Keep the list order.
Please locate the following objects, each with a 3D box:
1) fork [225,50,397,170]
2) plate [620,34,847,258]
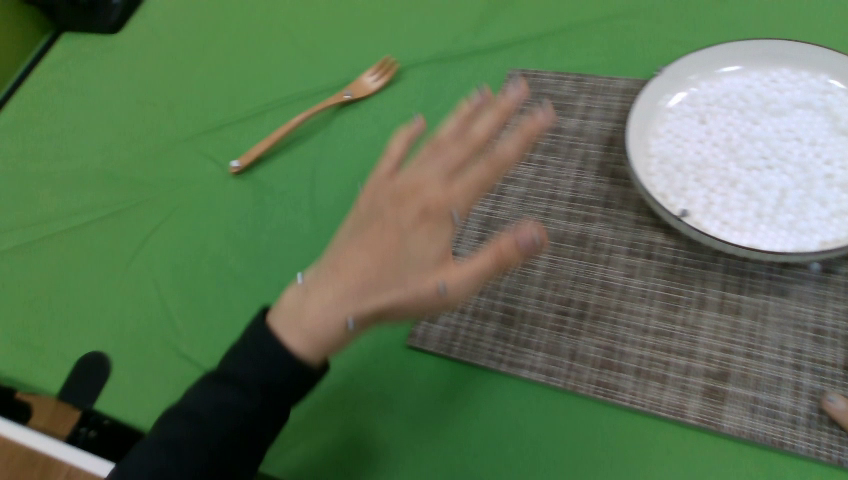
[{"bbox_3d":[-0.116,-0.132,0.620,0.207,0.019,0.028,-34,69,-8],"label":"fork"},{"bbox_3d":[0.261,-0.074,0.473,0.209,0.038,0.207,-7,59,11],"label":"plate"}]
